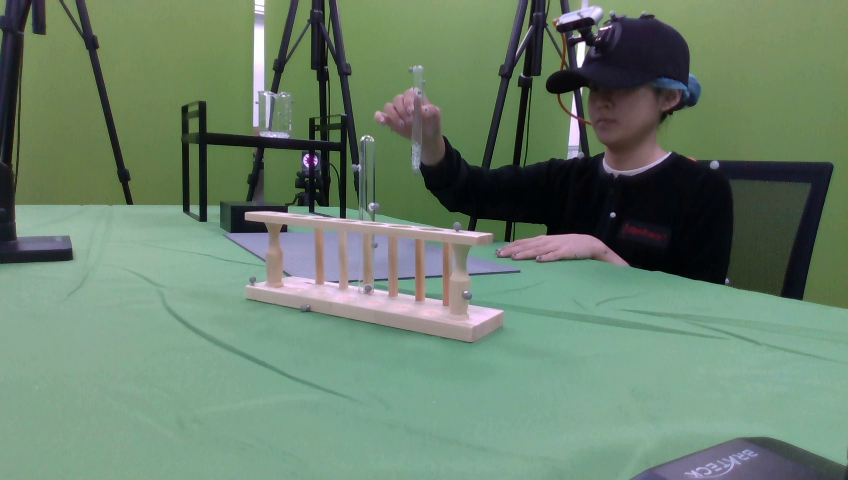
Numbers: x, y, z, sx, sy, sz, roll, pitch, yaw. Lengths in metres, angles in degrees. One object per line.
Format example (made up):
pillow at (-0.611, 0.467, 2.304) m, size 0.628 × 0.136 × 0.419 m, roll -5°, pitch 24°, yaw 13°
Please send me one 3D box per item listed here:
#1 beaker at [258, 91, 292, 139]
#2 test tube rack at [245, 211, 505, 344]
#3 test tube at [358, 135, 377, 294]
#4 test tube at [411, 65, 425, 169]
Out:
beaker at (-0.331, -0.276, 1.343) m, size 0.074 × 0.100 × 0.083 m, roll 0°, pitch 8°, yaw -20°
test tube rack at (-0.049, 0.025, 0.547) m, size 0.241 × 0.085 × 0.067 m, roll 7°, pitch 8°, yaw 28°
test tube at (-0.053, -0.022, 0.565) m, size 0.017 × 0.150 × 0.017 m, roll 2°, pitch 6°, yaw 0°
test tube at (-0.009, -0.178, 0.882) m, size 0.017 × 0.150 × 0.017 m, roll 2°, pitch 5°, yaw 0°
